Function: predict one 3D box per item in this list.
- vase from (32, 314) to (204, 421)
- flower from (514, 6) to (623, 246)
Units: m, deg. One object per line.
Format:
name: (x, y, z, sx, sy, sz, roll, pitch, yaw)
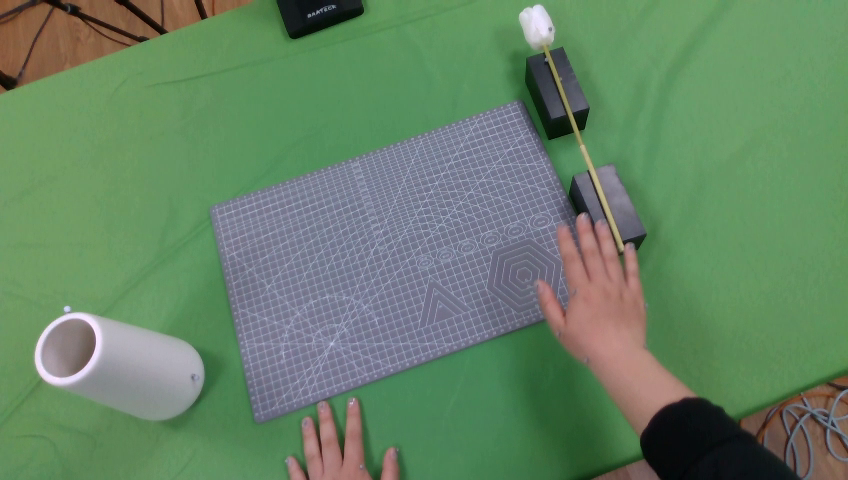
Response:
vase: (-0.318, 0.137, 0.651, 0.098, 0.201, 0.097, -2, 68, 5)
flower: (0.180, -0.152, 0.751, 0.044, 0.038, 0.358, -1, 62, -27)
